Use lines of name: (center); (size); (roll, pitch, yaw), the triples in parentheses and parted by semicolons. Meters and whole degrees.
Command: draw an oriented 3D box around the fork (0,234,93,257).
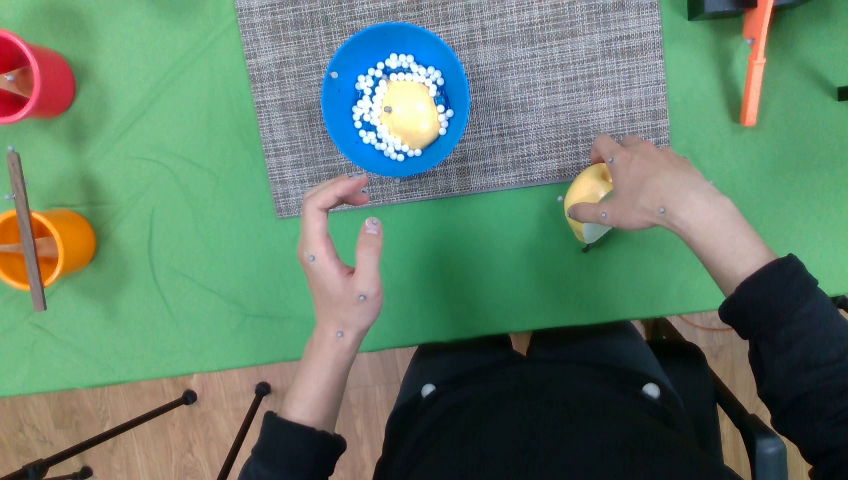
fork: (-0.482, 0.005, 0.665); (0.209, 0.018, 0.028); (2, 114, -41)

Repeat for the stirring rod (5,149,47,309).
stirring rod: (-0.432, -0.010, 0.657); (0.014, 0.006, 0.176); (-3, 101, 2)

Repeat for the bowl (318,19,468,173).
bowl: (-0.028, -0.147, 0.637); (0.151, 0.076, 0.152); (1, 101, 4)

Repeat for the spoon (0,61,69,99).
spoon: (-0.486, -0.170, 0.637); (0.194, 0.021, 0.042); (-10, 105, -38)

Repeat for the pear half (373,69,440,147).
pear half: (-0.023, -0.141, 0.631); (0.070, 0.031, 0.088); (-34, 92, 8)

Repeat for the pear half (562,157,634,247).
pear half: (0.180, -0.040, 0.660); (0.076, 0.055, 0.110); (-14, 136, -25)

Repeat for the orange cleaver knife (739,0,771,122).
orange cleaver knife: (0.327, -0.222, 0.599); (0.012, 0.076, 0.213); (-5, 129, 11)
